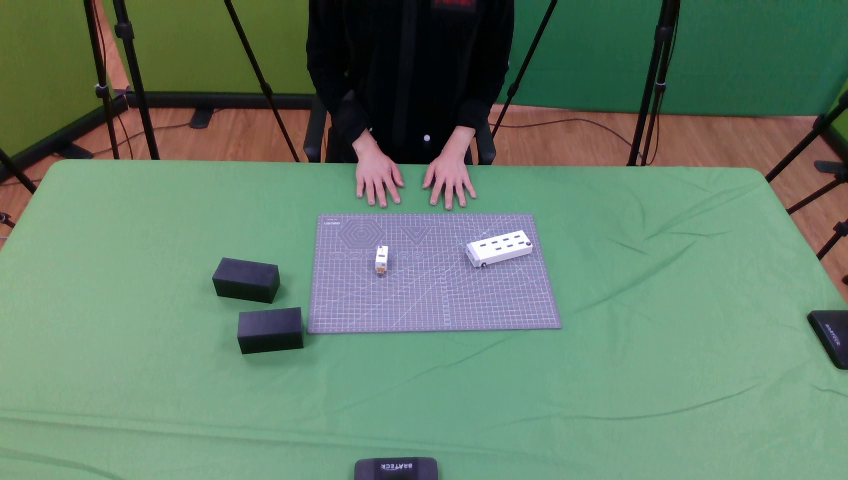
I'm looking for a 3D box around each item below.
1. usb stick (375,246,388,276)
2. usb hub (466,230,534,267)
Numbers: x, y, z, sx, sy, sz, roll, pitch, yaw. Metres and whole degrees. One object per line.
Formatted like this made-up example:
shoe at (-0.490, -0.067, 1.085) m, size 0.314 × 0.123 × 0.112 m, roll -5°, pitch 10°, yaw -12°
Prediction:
usb stick at (-0.081, 0.040, 1.146) m, size 0.021 × 0.027 × 0.059 m, roll 6°, pitch 48°, yaw -1°
usb hub at (0.148, 0.017, 1.185) m, size 0.125 × 0.025 × 0.049 m, roll -14°, pitch 49°, yaw -16°
